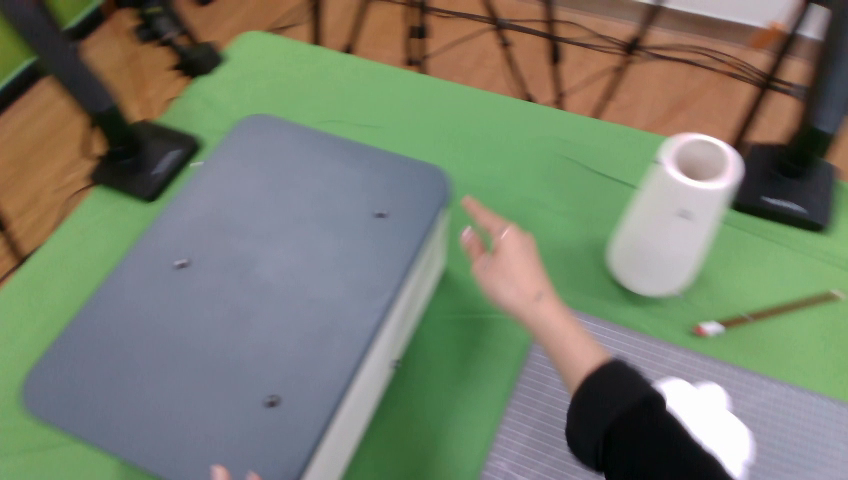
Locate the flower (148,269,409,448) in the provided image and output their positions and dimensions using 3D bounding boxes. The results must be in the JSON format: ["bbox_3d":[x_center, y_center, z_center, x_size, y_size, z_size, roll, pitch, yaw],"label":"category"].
[{"bbox_3d":[-0.144,0.116,0.702,0.038,0.044,0.362,6,29,46],"label":"flower"}]

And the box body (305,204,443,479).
[{"bbox_3d":[-0.152,0.074,0.630,0.253,0.162,0.362,18,59,15],"label":"box body"}]

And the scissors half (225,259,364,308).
[{"bbox_3d":[-0.155,0.059,0.728,0.175,0.040,0.012,-13,18,3],"label":"scissors half"}]

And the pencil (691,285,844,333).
[{"bbox_3d":[0.395,0.077,0.691,0.194,0.012,0.012,-14,56,-8],"label":"pencil"}]

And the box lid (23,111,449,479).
[{"bbox_3d":[-0.155,0.030,0.568,0.262,0.015,0.369,18,59,13],"label":"box lid"}]

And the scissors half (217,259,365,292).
[{"bbox_3d":[-0.158,0.046,0.723,0.175,0.040,0.012,-4,24,-2],"label":"scissors half"}]

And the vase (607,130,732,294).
[{"bbox_3d":[0.260,-0.026,0.652,0.098,0.202,0.097,-2,55,3],"label":"vase"}]
